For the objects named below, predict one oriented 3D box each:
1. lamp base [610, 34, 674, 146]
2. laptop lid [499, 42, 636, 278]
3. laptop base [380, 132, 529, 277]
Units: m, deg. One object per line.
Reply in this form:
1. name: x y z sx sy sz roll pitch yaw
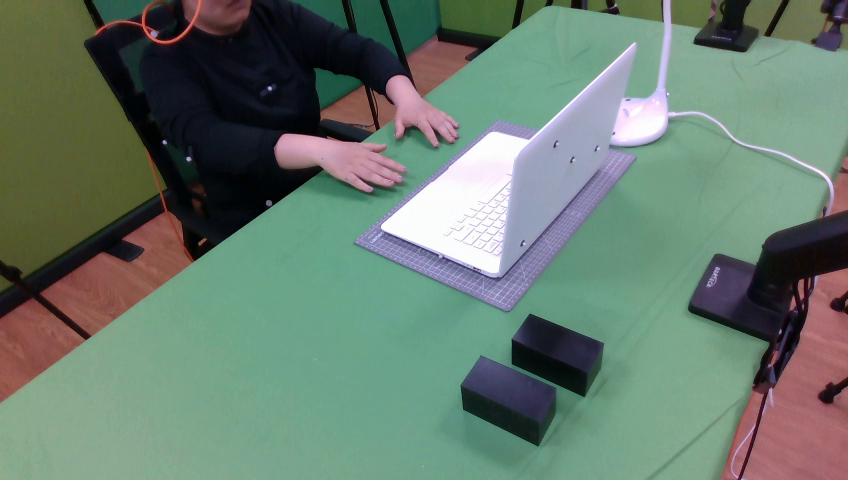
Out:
1. lamp base: 0.392 -0.291 1.129 0.180 0.181 0.159 -11 41 -8
2. laptop lid: 0.217 -0.122 0.898 0.013 0.242 0.358 28 50 25
3. laptop base: 0.122 -0.077 1.042 0.233 0.023 0.355 20 47 33
